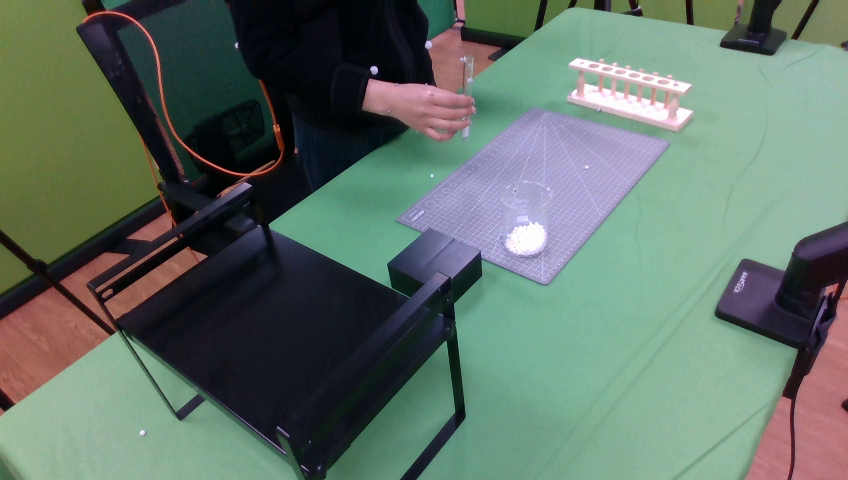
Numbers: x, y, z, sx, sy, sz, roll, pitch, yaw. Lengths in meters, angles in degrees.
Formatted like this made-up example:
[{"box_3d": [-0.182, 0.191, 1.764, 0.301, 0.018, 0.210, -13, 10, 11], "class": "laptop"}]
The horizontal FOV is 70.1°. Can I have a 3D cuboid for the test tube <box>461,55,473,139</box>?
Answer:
[{"box_3d": [0.072, -0.239, 1.024, 0.017, 0.151, 0.017, 0, 40, 0], "class": "test tube"}]

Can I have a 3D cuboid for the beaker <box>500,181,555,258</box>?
[{"box_3d": [0.158, -0.030, 0.922, 0.084, 0.100, 0.073, -13, 41, -8], "class": "beaker"}]

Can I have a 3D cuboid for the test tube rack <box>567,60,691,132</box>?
[{"box_3d": [0.411, -0.299, 1.217, 0.240, 0.085, 0.067, 26, 51, 34], "class": "test tube rack"}]
